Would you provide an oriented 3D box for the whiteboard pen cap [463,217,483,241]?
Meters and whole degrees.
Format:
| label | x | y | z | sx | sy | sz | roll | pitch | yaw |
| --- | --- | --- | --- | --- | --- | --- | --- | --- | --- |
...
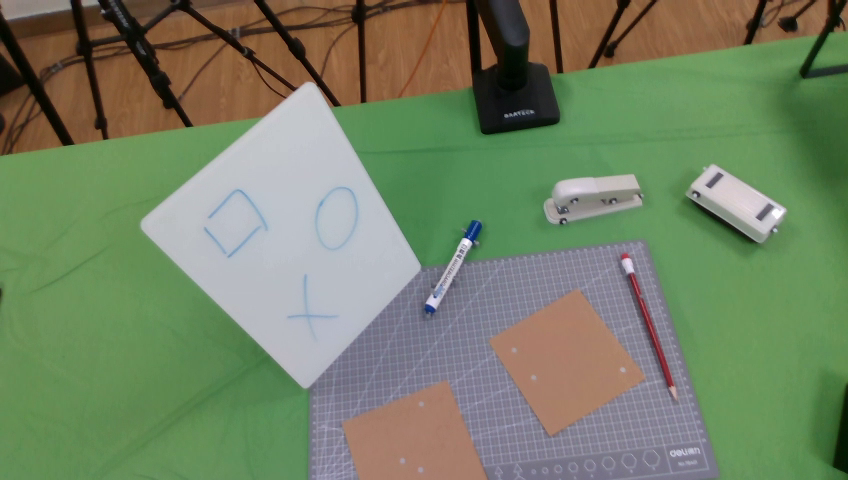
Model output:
| label | x | y | z | sx | sy | sz | roll | pitch | yaw |
| --- | --- | --- | --- | --- | --- | --- | --- | --- | --- |
| whiteboard pen cap | 0.066 | -0.014 | 0.819 | 0.018 | 0.018 | 0.033 | 21 | 65 | 17 |

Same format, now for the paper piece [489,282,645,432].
| label | x | y | z | sx | sy | sz | roll | pitch | yaw |
| --- | --- | --- | --- | --- | --- | --- | --- | --- | --- |
| paper piece | 0.169 | 0.137 | 0.729 | 0.136 | 0.009 | 0.137 | -29 | 64 | -5 |

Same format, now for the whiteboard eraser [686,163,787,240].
| label | x | y | z | sx | sy | sz | roll | pitch | yaw |
| --- | --- | --- | --- | --- | --- | --- | --- | --- | --- |
| whiteboard eraser | 0.405 | -0.049 | 0.790 | 0.055 | 0.042 | 0.112 | -43 | 65 | -15 |

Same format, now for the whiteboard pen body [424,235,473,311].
| label | x | y | z | sx | sy | sz | roll | pitch | yaw |
| --- | --- | --- | --- | --- | --- | --- | --- | --- | --- |
| whiteboard pen body | 0.038 | 0.032 | 0.797 | 0.017 | 0.017 | 0.140 | 23 | 65 | 18 |

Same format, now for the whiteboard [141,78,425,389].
| label | x | y | z | sx | sy | sz | roll | pitch | yaw |
| --- | --- | --- | --- | --- | --- | --- | --- | --- | --- |
| whiteboard | -0.168 | -0.013 | 0.716 | 0.217 | 0.309 | 0.142 | -45 | 45 | -17 |

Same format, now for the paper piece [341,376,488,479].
| label | x | y | z | sx | sy | sz | roll | pitch | yaw |
| --- | --- | --- | --- | --- | --- | --- | --- | --- | --- |
| paper piece | -0.013 | 0.239 | 0.691 | 0.135 | 0.004 | 0.134 | -20 | 61 | -6 |

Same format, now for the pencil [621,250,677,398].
| label | x | y | z | sx | sy | sz | roll | pitch | yaw |
| --- | --- | --- | --- | --- | --- | --- | --- | --- | --- |
| pencil | 0.273 | 0.098 | 0.738 | 0.012 | 0.012 | 0.192 | -11 | 62 | 0 |

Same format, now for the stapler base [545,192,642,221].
| label | x | y | z | sx | sy | sz | roll | pitch | yaw |
| --- | --- | --- | --- | --- | --- | --- | --- | --- | --- |
| stapler base | 0.232 | -0.058 | 0.826 | 0.130 | 0.024 | 0.041 | -12 | 63 | -2 |

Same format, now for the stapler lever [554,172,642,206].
| label | x | y | z | sx | sy | sz | roll | pitch | yaw |
| --- | --- | --- | --- | --- | --- | --- | --- | --- | --- |
| stapler lever | 0.231 | -0.071 | 0.805 | 0.118 | 0.040 | 0.026 | -12 | 62 | -1 |
